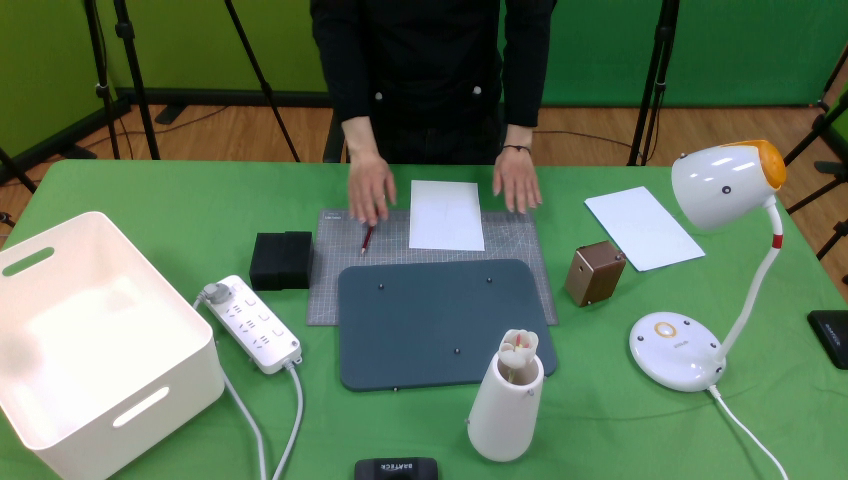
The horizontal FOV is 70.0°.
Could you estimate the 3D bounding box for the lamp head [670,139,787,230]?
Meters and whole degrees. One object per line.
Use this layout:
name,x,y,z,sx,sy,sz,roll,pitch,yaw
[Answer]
lamp head,0.415,-0.079,0.812,0.113,0.123,0.112,12,70,-37

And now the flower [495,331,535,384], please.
flower,0.111,0.187,0.791,0.044,0.363,0.038,-32,65,-10

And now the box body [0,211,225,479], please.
box body,-0.504,0.154,0.916,0.362,0.161,0.254,36,54,27

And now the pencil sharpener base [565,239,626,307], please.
pencil sharpener base,0.313,0.060,1.104,0.077,0.107,0.061,-15,49,-18

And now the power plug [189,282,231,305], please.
power plug,-0.368,0.097,1.039,0.072,0.053,0.035,-26,55,-20

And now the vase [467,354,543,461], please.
vase,0.116,0.234,0.861,0.098,0.201,0.097,1,47,-1

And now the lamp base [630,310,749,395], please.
lamp base,0.447,0.142,0.984,0.161,0.181,0.178,-24,55,-24

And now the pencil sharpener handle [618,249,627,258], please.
pencil sharpener handle,0.359,0.036,1.113,0.031,0.068,0.036,-15,62,-18

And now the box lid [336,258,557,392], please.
box lid,0.030,0.140,1.073,0.372,0.015,0.261,-3,47,-7

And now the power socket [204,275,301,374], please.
power socket,-0.296,0.140,1.035,0.072,0.033,0.225,-32,57,-29

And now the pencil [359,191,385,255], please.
pencil,-0.106,-0.037,1.229,0.012,0.012,0.193,10,45,6
